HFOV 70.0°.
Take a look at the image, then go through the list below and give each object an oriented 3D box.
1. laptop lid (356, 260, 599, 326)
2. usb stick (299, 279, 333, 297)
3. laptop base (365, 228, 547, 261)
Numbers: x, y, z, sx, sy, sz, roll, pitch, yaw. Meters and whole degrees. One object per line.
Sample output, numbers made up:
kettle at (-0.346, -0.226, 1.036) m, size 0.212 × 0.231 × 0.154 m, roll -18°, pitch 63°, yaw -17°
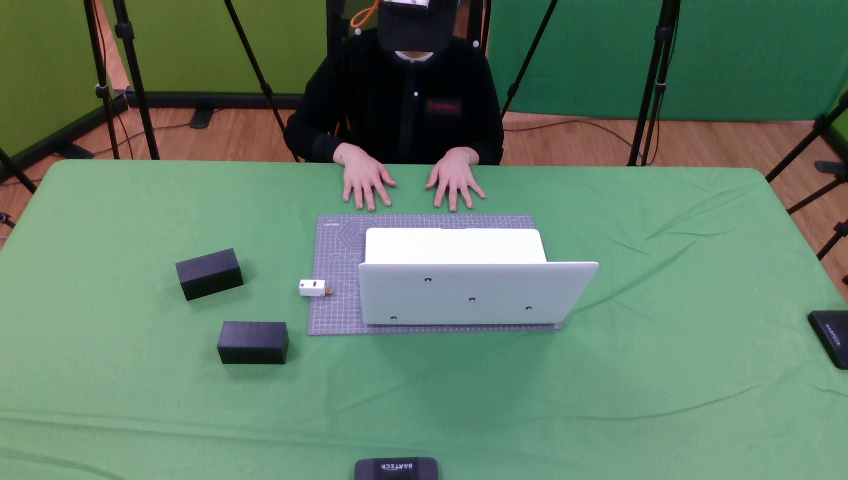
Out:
laptop lid at (0.074, 0.089, 0.958) m, size 0.357 × 0.242 × 0.013 m, roll 1°, pitch 60°, yaw -5°
usb stick at (-0.195, 0.087, 1.092) m, size 0.059 × 0.027 × 0.021 m, roll 5°, pitch 46°, yaw -3°
laptop base at (0.064, 0.063, 1.143) m, size 0.355 × 0.023 × 0.234 m, roll 0°, pitch 42°, yaw -4°
